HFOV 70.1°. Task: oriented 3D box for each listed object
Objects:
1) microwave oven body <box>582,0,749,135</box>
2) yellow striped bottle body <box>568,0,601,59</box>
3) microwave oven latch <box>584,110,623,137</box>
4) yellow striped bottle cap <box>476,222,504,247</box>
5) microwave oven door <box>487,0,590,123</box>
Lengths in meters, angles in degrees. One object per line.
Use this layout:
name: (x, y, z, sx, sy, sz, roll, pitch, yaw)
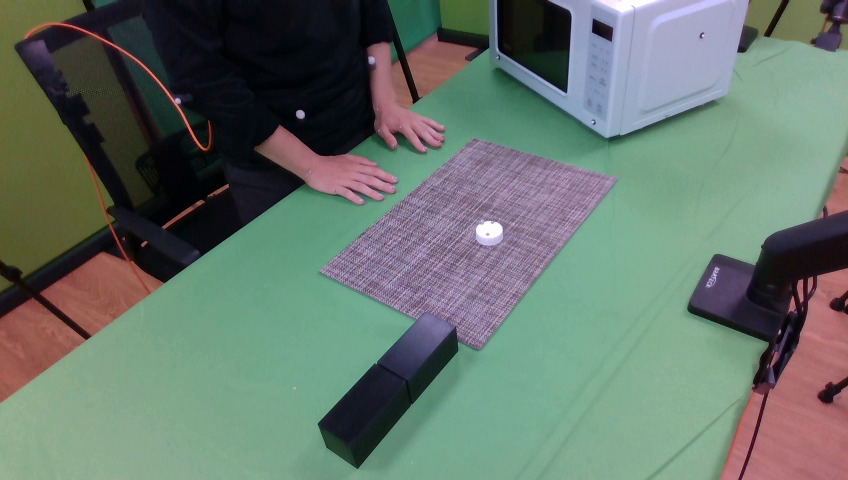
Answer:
microwave oven body: (0.382, -0.444, 1.246, 0.327, 0.261, 0.437, -22, 42, -16)
yellow striped bottle body: (0.336, -0.448, 1.268, 0.063, 0.121, 0.062, -5, 44, 5)
microwave oven latch: (0.337, -0.222, 1.142, 0.030, 0.029, 0.078, -21, 42, -15)
yellow striped bottle cap: (0.105, -0.010, 0.966, 0.044, 0.019, 0.044, -3, 39, 3)
microwave oven door: (0.232, -0.420, 1.230, 0.039, 0.245, 0.352, -22, 43, -16)
